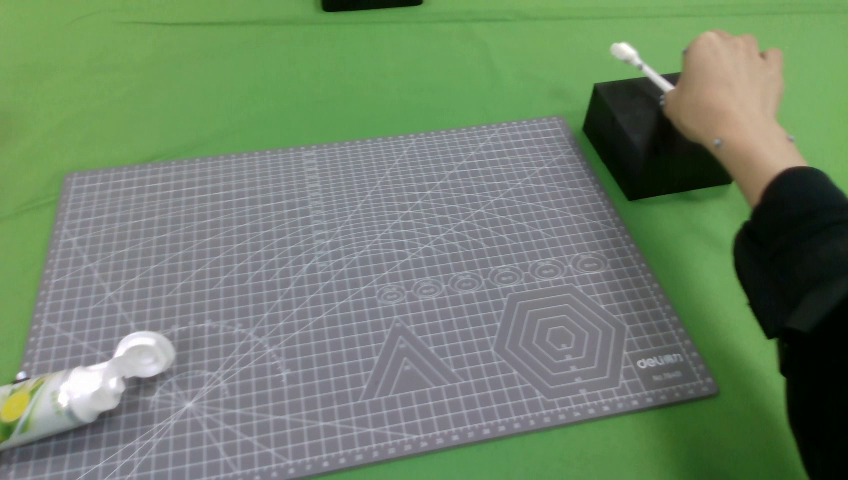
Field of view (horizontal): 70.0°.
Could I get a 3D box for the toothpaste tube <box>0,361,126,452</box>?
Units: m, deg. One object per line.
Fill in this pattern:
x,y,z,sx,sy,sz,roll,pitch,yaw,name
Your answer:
-0.262,0.108,0.363,0.165,0.035,0.054,-16,50,-5,toothpaste tube

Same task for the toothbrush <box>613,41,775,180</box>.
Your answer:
0.219,-0.113,0.503,0.017,0.014,0.180,-5,49,-42,toothbrush

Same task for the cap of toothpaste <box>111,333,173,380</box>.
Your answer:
-0.180,0.076,0.386,0.037,0.037,0.011,-12,27,-11,cap of toothpaste
